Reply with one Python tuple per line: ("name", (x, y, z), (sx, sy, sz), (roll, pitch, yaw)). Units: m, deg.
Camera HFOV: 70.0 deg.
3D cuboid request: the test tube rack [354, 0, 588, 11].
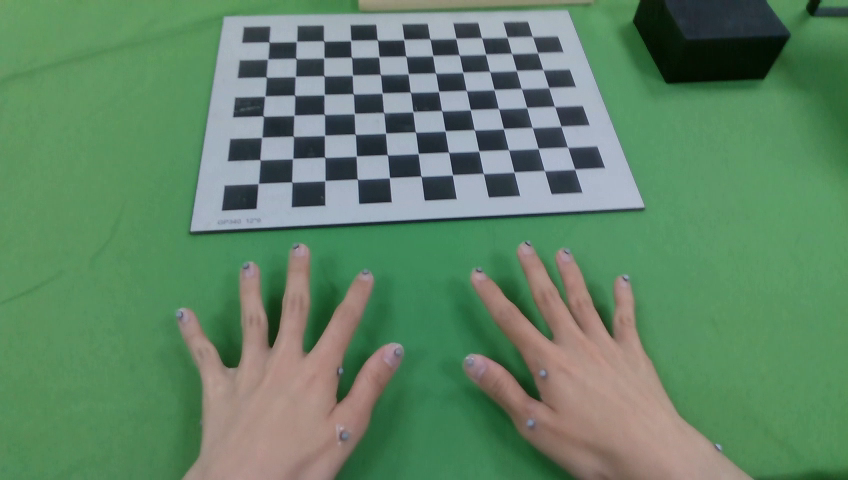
("test tube rack", (0.049, -0.289, 0.603), (0.243, 0.086, 0.066), (-5, 54, -7))
